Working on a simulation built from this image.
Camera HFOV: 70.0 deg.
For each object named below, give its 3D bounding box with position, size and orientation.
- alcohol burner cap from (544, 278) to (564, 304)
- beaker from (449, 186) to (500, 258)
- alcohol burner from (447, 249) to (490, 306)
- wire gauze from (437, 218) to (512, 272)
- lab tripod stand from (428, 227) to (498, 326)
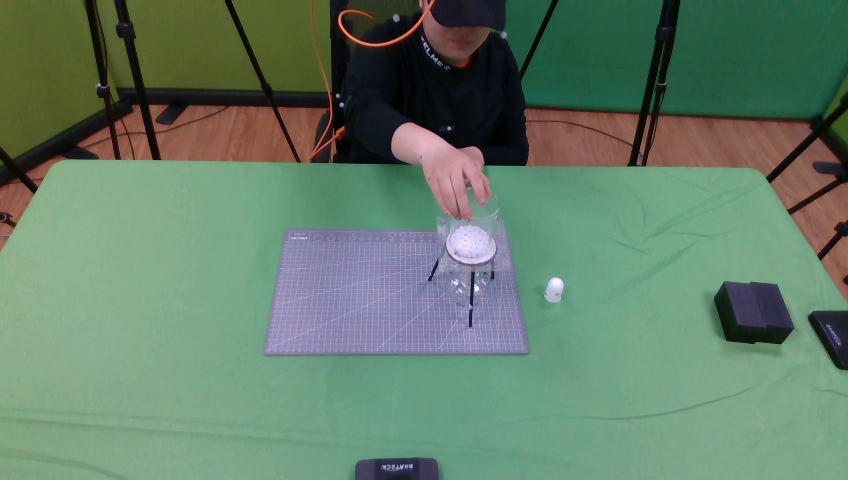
[{"bbox_3d":[0.241,0.090,1.117,0.034,0.048,0.033,2,45,-2],"label":"alcohol burner cap"},{"bbox_3d":[0.080,-0.028,0.991,0.074,0.101,0.083,3,46,-3],"label":"beaker"},{"bbox_3d":[0.080,0.062,1.078,0.078,0.120,0.077,1,45,-1],"label":"alcohol burner"},{"bbox_3d":[0.083,0.007,1.026,0.121,0.011,0.124,3,45,-5],"label":"wire gauze"},{"bbox_3d":[0.079,0.056,1.070,0.148,0.132,0.147,3,47,-3],"label":"lab tripod stand"}]
